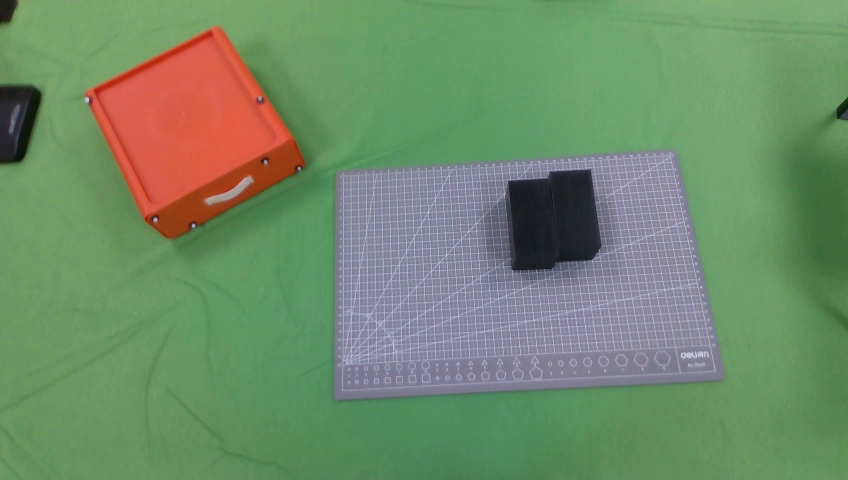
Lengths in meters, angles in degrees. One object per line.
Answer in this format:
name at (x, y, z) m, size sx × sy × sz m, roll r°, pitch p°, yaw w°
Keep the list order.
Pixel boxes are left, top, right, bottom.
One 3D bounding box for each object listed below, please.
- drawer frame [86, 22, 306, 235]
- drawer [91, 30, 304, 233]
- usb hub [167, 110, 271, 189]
drawer frame at (-0.295, -0.146, 0.788) m, size 0.202 × 0.083 × 0.212 m, roll -32°, pitch 71°, yaw -9°
drawer at (-0.293, -0.145, 0.788) m, size 0.194 × 0.074 × 0.210 m, roll -31°, pitch 72°, yaw -8°
usb hub at (-0.268, -0.120, 0.794) m, size 0.125 × 0.025 × 0.049 m, roll -30°, pitch 74°, yaw -7°
